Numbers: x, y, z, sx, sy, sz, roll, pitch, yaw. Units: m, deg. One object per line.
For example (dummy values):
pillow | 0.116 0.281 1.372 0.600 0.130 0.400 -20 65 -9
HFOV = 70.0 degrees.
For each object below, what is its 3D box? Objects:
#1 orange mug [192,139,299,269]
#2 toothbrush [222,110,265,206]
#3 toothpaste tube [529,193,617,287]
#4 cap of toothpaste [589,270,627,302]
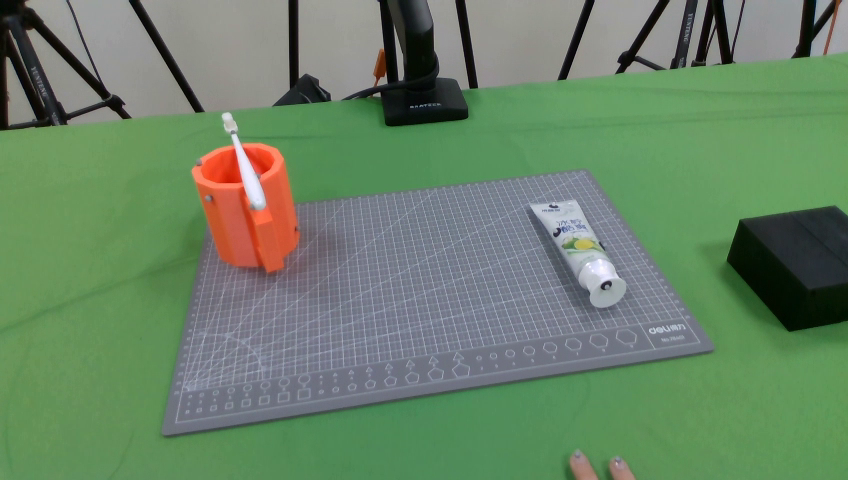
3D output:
orange mug | -0.170 -0.032 0.603 0.083 0.102 0.125 -20 37 -20
toothbrush | -0.176 -0.083 0.585 0.014 0.017 0.179 -13 40 -19
toothpaste tube | 0.154 -0.005 0.608 0.055 0.035 0.163 -2 34 -8
cap of toothpaste | 0.163 0.040 0.542 0.037 0.038 0.011 -12 40 -11
